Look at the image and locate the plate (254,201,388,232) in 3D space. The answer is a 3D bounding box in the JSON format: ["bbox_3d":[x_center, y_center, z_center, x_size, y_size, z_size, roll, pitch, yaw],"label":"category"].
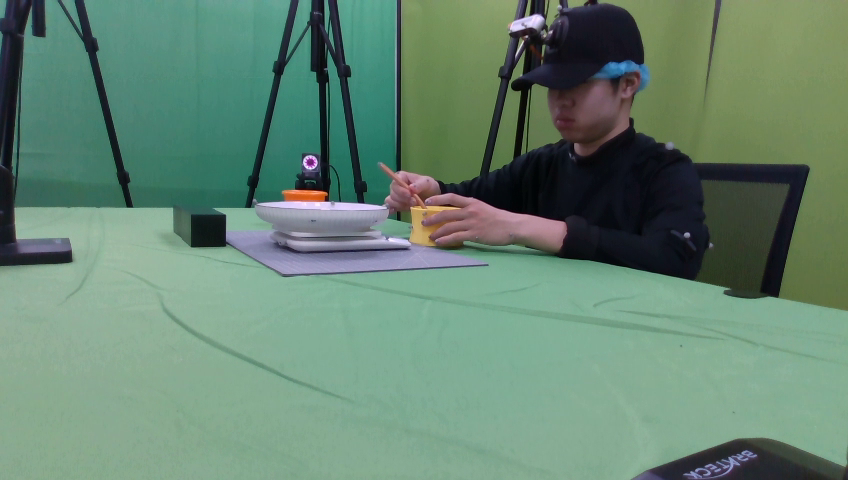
[{"bbox_3d":[-0.161,-0.037,0.961,0.209,0.038,0.209,2,6,0],"label":"plate"}]

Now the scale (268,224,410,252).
[{"bbox_3d":[-0.137,-0.006,0.979,0.202,0.031,0.148,-1,8,-30],"label":"scale"}]

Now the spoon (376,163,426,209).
[{"bbox_3d":[-0.017,-0.072,1.094,0.193,0.021,0.042,48,19,2],"label":"spoon"}]

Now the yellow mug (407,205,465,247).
[{"bbox_3d":[0.027,-0.028,1.104,0.099,0.064,0.131,7,8,19],"label":"yellow mug"}]
